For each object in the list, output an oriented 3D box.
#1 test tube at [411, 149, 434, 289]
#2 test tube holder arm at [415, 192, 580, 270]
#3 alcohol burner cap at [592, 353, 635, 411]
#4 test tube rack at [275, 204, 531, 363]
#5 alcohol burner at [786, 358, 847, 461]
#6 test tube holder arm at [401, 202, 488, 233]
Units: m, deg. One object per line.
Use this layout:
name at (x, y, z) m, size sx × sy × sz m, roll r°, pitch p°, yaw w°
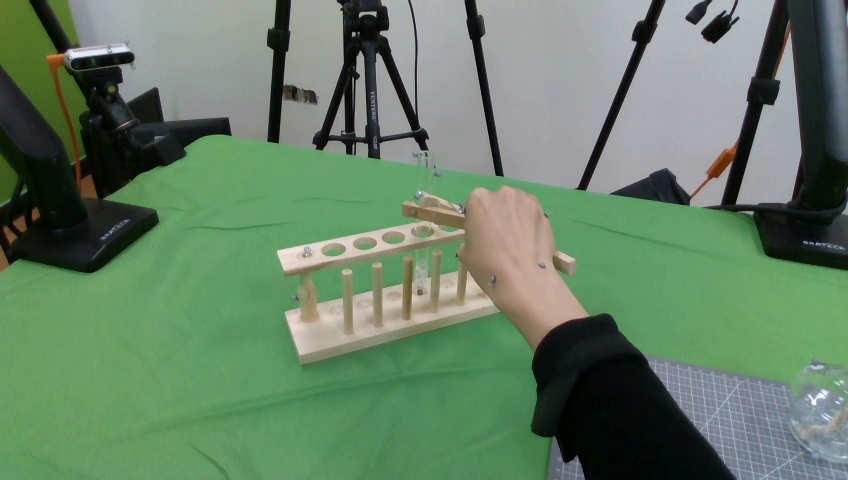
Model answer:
test tube at (-0.003, -0.015, 0.577) m, size 0.017 × 0.151 × 0.017 m, roll 3°, pitch 33°, yaw -1°
test tube holder arm at (0.057, -0.012, 0.525) m, size 0.177 × 0.015 × 0.013 m, roll 23°, pitch 47°, yaw 38°
alcohol burner cap at (0.161, 0.116, 0.511) m, size 0.034 × 0.048 × 0.033 m, roll 1°, pitch 35°, yaw -1°
test tube rack at (-0.012, 0.037, 0.588) m, size 0.243 × 0.086 × 0.066 m, roll -12°, pitch 36°, yaw -20°
alcohol burner at (0.325, 0.111, 0.460) m, size 0.078 × 0.120 × 0.077 m, roll 2°, pitch 36°, yaw -1°
test tube holder arm at (0.019, -0.021, 0.547) m, size 0.087 × 0.015 × 0.010 m, roll 12°, pitch 40°, yaw 27°
